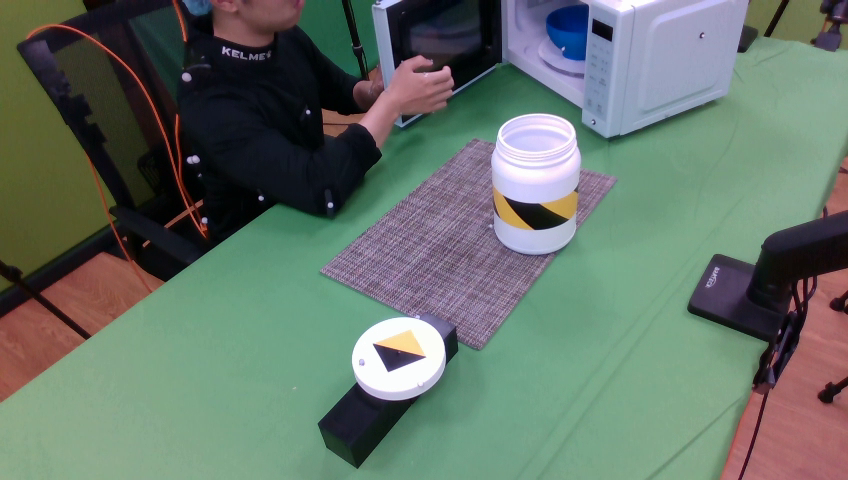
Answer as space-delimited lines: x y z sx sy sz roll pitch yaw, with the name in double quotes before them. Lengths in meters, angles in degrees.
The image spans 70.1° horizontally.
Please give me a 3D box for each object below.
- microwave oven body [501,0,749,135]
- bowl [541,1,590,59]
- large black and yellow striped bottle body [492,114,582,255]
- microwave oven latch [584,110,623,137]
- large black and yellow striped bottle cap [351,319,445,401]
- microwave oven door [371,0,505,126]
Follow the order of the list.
"microwave oven body" 0.382 -0.444 1.246 0.327 0.261 0.437 -22 42 -16
"bowl" 0.328 -0.436 1.279 0.151 0.077 0.150 -13 39 11
"large black and yellow striped bottle body" 0.169 -0.083 0.912 0.131 0.185 0.130 -4 41 4
"microwave oven latch" 0.337 -0.222 1.142 0.030 0.029 0.078 -21 42 -14
"large black and yellow striped bottle cap" -0.031 0.143 0.735 0.115 0.019 0.114 -3 40 3
"microwave oven door" 0.044 -0.423 1.261 0.039 0.245 0.357 27 51 34
